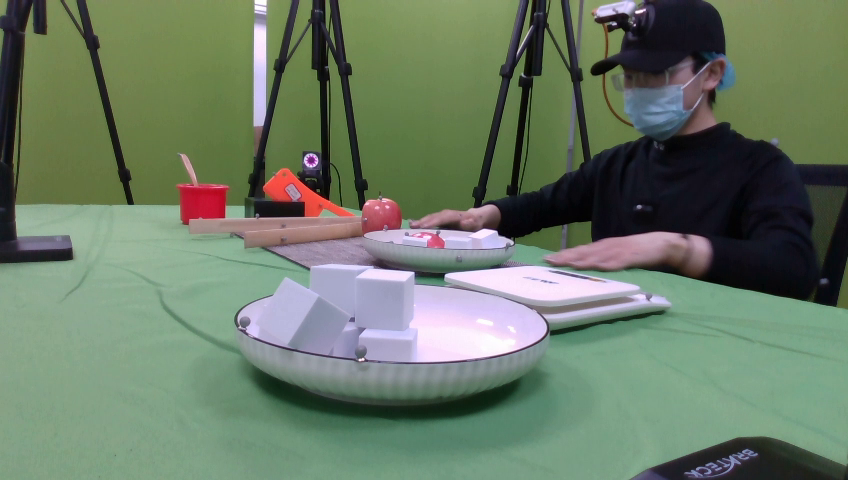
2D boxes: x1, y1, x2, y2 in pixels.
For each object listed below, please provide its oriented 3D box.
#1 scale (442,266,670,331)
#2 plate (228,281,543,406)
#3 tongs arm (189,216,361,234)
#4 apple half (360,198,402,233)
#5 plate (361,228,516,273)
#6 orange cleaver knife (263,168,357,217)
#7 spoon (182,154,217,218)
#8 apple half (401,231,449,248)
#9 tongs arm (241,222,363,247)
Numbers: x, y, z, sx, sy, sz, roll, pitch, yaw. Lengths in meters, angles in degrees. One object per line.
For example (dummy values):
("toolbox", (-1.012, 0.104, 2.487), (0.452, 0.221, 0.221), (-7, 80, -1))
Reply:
("scale", (0.131, 0.052, 0.603), (0.202, 0.031, 0.148), (-3, 9, -37))
("plate", (-0.025, 0.067, 0.413), (0.208, 0.039, 0.207), (3, 7, 0))
("tongs arm", (-0.220, -0.028, 1.088), (0.387, 0.026, 0.050), (-3, 8, -43))
("apple half", (-0.066, -0.032, 1.014), (0.053, 0.074, 0.081), (9, 6, 21))
("plate", (0.019, 0.013, 0.818), (0.209, 0.038, 0.209), (2, 7, 0))
("orange cleaver knife", (-0.241, -0.078, 1.296), (0.212, 0.077, 0.012), (32, -11, -26))
("spoon", (-0.455, -0.107, 1.212), (0.042, 0.021, 0.193), (-6, 55, -35))
("apple half", (0.003, 0.005, 0.843), (0.081, 0.033, 0.081), (1, 4, 0))
("tongs arm", (-0.159, -0.017, 1.034), (0.028, 0.028, 0.389), (2, 6, 33))
